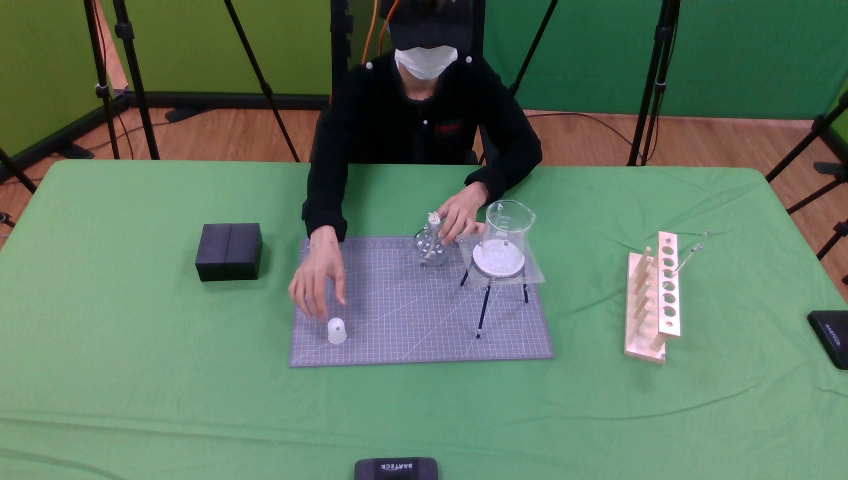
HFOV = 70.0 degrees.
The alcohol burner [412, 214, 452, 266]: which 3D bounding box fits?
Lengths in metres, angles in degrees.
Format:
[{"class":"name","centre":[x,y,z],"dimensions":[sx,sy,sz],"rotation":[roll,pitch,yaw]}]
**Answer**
[{"class":"alcohol burner","centre":[0.017,-0.006,1.139],"dimensions":[0.078,0.119,0.077],"rotation":[2,48,-2]}]

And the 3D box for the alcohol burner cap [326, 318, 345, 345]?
[{"class":"alcohol burner cap","centre":[-0.149,0.151,1.023],"dimensions":[0.034,0.048,0.033],"rotation":[3,47,-3]}]

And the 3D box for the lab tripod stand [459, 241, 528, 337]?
[{"class":"lab tripod stand","centre":[0.122,0.075,1.054],"dimensions":[0.148,0.132,0.147],"rotation":[3,44,-3]}]

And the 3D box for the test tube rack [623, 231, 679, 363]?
[{"class":"test tube rack","centre":[0.410,0.094,1.096],"dimensions":[0.066,0.085,0.241],"rotation":[13,46,9]}]

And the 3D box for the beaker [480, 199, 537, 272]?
[{"class":"beaker","centre":[0.132,-0.004,0.973],"dimensions":[0.084,0.101,0.073],"rotation":[-4,47,-9]}]

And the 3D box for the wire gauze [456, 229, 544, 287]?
[{"class":"wire gauze","centre":[0.125,0.030,1.008],"dimensions":[0.125,0.011,0.120],"rotation":[-3,48,-11]}]

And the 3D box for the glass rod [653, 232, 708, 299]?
[{"class":"glass rod","centre":[0.441,0.049,1.050],"dimensions":[0.008,0.200,0.008],"rotation":[4,52,-5]}]
